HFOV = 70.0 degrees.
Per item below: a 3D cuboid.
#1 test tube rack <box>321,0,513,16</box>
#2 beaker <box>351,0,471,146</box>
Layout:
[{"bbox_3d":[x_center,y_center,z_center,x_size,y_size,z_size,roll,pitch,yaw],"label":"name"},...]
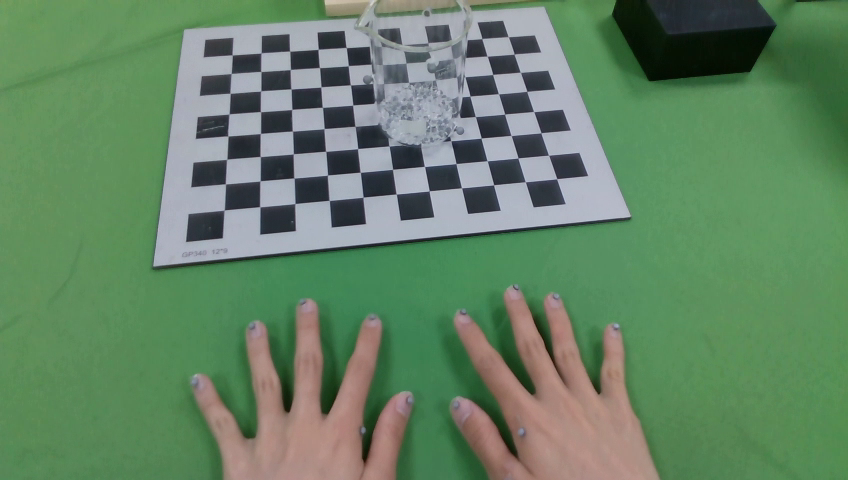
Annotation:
[{"bbox_3d":[0.018,-0.280,0.576,0.243,0.086,0.066,-7,56,-7],"label":"test tube rack"},{"bbox_3d":[-0.009,-0.128,0.458,0.084,0.101,0.073,-6,55,-5],"label":"beaker"}]
